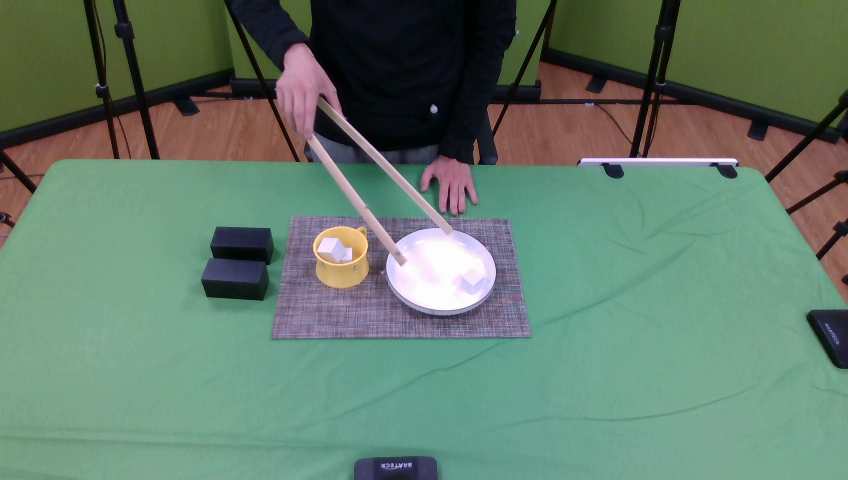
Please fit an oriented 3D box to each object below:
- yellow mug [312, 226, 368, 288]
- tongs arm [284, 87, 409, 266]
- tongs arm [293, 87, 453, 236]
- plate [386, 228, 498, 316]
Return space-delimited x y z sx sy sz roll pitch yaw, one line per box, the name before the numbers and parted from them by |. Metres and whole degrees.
yellow mug | -0.146 0.021 1.131 0.099 0.064 0.130 24 49 18
tongs arm | -0.136 -0.116 1.065 0.051 0.026 0.384 -32 78 -35
tongs arm | -0.092 -0.145 1.105 0.387 0.028 0.028 44 57 4
plate | 0.032 0.062 1.126 0.208 0.039 0.206 2 46 -2
